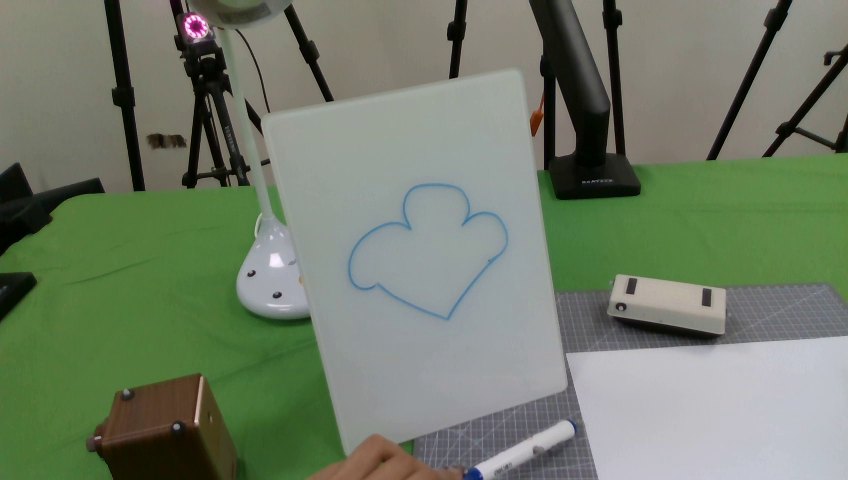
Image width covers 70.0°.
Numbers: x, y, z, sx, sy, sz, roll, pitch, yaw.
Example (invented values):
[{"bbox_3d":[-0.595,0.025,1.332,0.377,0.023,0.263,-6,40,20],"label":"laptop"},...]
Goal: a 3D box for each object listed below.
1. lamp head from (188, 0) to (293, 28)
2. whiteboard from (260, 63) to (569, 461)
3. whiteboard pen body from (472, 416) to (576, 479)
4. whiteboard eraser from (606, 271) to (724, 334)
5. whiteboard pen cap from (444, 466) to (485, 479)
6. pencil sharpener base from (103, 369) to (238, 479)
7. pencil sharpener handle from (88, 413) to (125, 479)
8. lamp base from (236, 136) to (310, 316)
[{"bbox_3d":[-0.176,-0.263,0.526,0.112,0.113,0.122,-25,62,-26],"label":"lamp head"},{"bbox_3d":[-0.009,0.010,0.579,0.217,0.307,0.143,-14,15,-11],"label":"whiteboard"},{"bbox_3d":[0.075,0.171,0.488,0.141,0.017,0.017,-11,29,-38],"label":"whiteboard pen body"},{"bbox_3d":[0.253,0.066,0.635,0.112,0.042,0.055,8,36,21],"label":"whiteboard eraser"},{"bbox_3d":[0.029,0.181,0.451,0.033,0.018,0.018,-14,32,-35],"label":"whiteboard pen cap"},{"bbox_3d":[-0.204,0.169,0.494,0.077,0.108,0.060,-12,34,-8],"label":"pencil sharpener base"},{"bbox_3d":[-0.254,0.170,0.477,0.031,0.068,0.035,-12,21,-7],"label":"pencil sharpener handle"},{"bbox_3d":[-0.169,-0.027,0.723,0.160,0.182,0.177,-32,39,-34],"label":"lamp base"}]
